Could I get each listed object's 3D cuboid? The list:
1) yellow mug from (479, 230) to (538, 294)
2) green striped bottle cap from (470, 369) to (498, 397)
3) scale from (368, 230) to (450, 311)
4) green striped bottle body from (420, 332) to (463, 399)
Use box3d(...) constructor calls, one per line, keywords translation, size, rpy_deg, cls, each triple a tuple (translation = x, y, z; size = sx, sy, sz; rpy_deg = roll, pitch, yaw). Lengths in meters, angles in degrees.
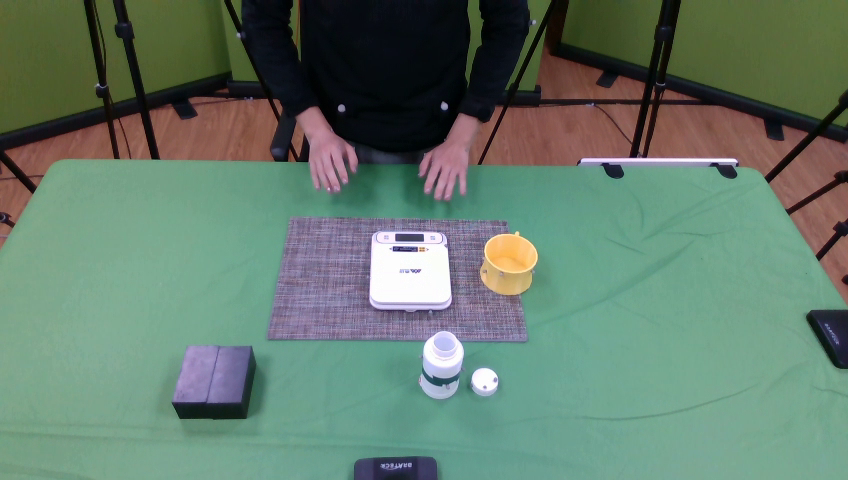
box3d(translation=(0.162, 0.033, 1.143), size=(0.100, 0.064, 0.130), rpy_deg=(15, 46, 9), cls="yellow mug")
box3d(translation=(0.098, 0.232, 0.989), size=(0.044, 0.020, 0.044), rpy_deg=(2, 41, -1), cls="green striped bottle cap")
box3d(translation=(-0.029, 0.049, 1.137), size=(0.149, 0.032, 0.199), rpy_deg=(1, 46, -4), cls="scale")
box3d(translation=(0.027, 0.193, 0.947), size=(0.063, 0.120, 0.063), rpy_deg=(2, 47, -2), cls="green striped bottle body")
